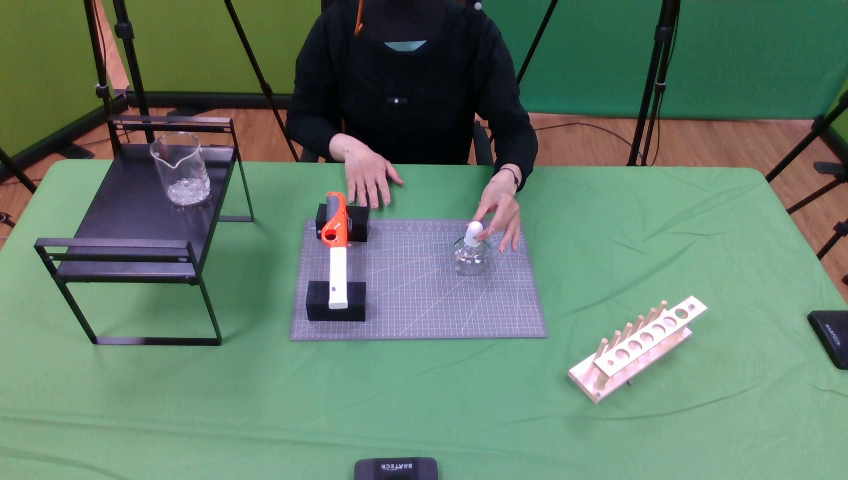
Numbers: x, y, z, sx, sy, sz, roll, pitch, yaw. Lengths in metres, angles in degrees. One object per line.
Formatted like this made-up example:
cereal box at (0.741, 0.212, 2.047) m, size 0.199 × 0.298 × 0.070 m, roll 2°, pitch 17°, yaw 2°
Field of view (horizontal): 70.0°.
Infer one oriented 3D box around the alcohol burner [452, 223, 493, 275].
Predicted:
alcohol burner at (0.092, 0.008, 1.124) m, size 0.078 × 0.119 × 0.077 m, roll 2°, pitch 48°, yaw -2°

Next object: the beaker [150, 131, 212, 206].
beaker at (-0.385, -0.110, 0.969) m, size 0.074 × 0.101 × 0.083 m, roll -6°, pitch 48°, yaw -9°

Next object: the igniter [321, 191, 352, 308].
igniter at (-0.159, 0.008, 1.101) m, size 0.057 × 0.025 × 0.274 m, roll -2°, pitch 48°, yaw -7°

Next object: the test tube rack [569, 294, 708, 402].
test tube rack at (0.360, 0.167, 1.014) m, size 0.242 × 0.085 × 0.066 m, roll -25°, pitch 53°, yaw -25°

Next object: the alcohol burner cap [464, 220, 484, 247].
alcohol burner cap at (0.092, -0.015, 1.098) m, size 0.034 × 0.048 × 0.033 m, roll 5°, pitch 43°, yaw -4°
